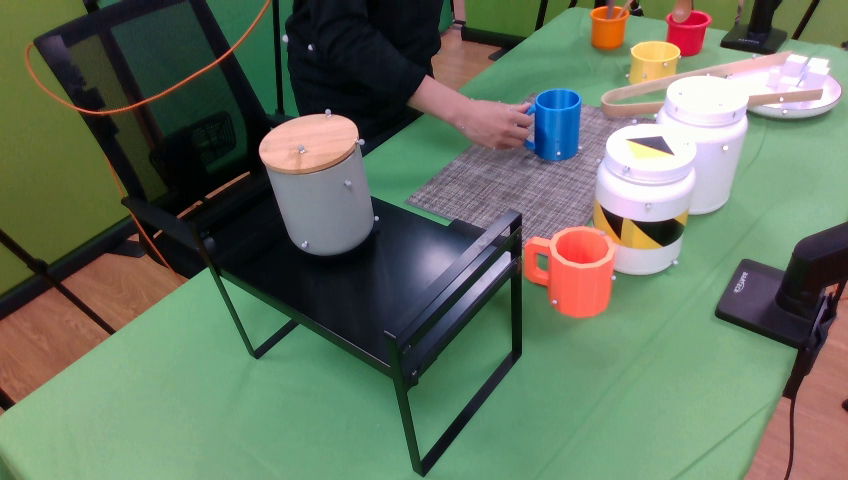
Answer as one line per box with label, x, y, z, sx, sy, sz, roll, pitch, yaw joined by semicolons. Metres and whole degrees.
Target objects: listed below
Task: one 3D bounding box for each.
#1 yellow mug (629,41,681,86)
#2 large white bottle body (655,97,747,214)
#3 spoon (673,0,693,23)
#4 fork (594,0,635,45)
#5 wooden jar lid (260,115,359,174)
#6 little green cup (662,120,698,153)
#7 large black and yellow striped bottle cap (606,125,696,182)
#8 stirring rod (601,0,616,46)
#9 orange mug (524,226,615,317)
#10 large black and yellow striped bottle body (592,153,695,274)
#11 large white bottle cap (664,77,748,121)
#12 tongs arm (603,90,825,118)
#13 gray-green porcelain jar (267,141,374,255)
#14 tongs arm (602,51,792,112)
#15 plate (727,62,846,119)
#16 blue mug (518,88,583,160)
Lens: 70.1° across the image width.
yellow mug;0.495;-0.389;1.321;0.100;0.064;0.130;-14;40;-7
large white bottle body;0.431;-0.148;0.959;0.130;0.185;0.130;-4;41;4
spoon;0.577;-0.572;1.308;0.022;0.194;0.041;-25;39;-37
fork;0.484;-0.552;1.447;0.207;0.019;0.028;-51;45;17
wooden jar lid;-0.124;-0.101;0.662;0.108;0.021;0.108;-4;41;4
little green cup;0.470;-0.191;1.117;0.061;0.039;0.061;-5;40;5
large black and yellow striped bottle cap;0.305;-0.119;0.816;0.115;0.019;0.114;-5;41;5
stirring rod;0.452;-0.554;1.464;0.014;0.006;0.176;11;86;15
orange mug;0.201;0.039;0.845;0.125;0.101;0.083;18;47;21
large black and yellow striped bottle body;0.313;-0.056;0.872;0.131;0.185;0.130;-4;41;4
large white bottle cap;0.421;-0.212;0.905;0.115;0.018;0.114;-4;40;4
tongs arm;0.546;-0.262;1.163;0.386;0.028;0.028;-1;49;18
gray-green porcelain jar;-0.117;-0.054;0.703;0.106;0.127;0.105;-4;40;4
tongs arm;0.552;-0.320;1.224;0.384;0.027;0.050;-10;44;7
plate;0.709;-0.292;1.197;0.207;0.039;0.206;-4;40;4
blue mug;0.232;-0.213;1.120;0.116;0.106;0.082;-7;41;2
